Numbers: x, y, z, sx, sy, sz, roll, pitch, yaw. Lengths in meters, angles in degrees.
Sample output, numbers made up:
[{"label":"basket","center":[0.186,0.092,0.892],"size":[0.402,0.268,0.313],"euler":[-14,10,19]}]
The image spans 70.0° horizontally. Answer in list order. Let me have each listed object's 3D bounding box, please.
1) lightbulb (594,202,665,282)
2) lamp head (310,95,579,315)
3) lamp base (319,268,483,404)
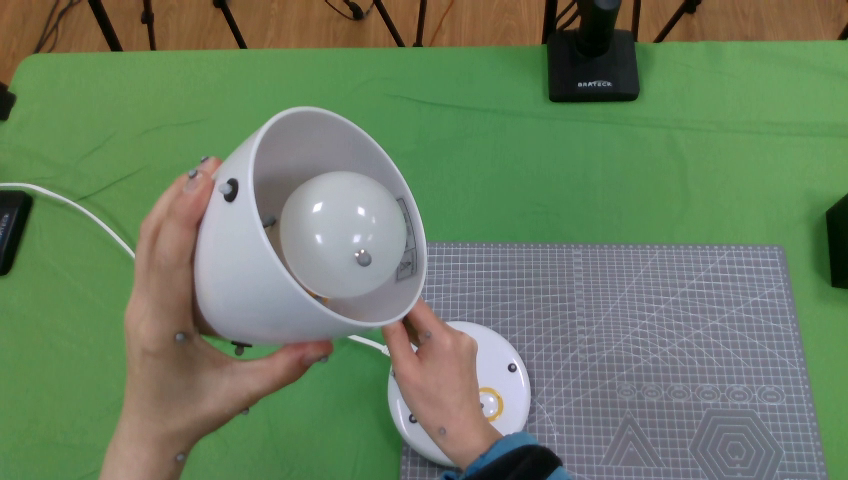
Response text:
[{"label":"lightbulb","center":[0.226,-0.002,0.683],"size":[0.059,0.060,0.106],"euler":[-23,58,-4]},{"label":"lamp head","center":[0.000,-0.024,0.326],"size":[0.124,0.112,0.112],"euler":[16,70,-30]},{"label":"lamp base","center":[-0.032,0.075,0.602],"size":[0.179,0.181,0.159],"euler":[7,73,8]}]
